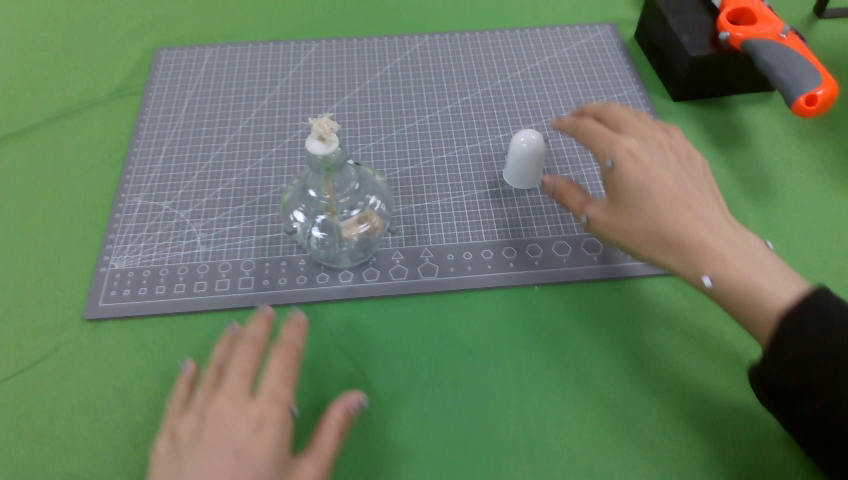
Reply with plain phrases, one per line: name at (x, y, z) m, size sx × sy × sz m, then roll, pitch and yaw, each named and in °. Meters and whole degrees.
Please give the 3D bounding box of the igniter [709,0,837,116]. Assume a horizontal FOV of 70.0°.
igniter at (0.271, -0.201, 0.524) m, size 0.057 × 0.025 × 0.273 m, roll -9°, pitch 52°, yaw -3°

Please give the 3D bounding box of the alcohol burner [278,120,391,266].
alcohol burner at (-0.062, -0.036, 0.403) m, size 0.078 × 0.120 × 0.077 m, roll 0°, pitch 56°, yaw 1°

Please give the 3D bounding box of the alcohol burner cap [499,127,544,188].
alcohol burner cap at (0.077, -0.067, 0.472) m, size 0.034 × 0.048 × 0.033 m, roll 1°, pitch 53°, yaw 0°
